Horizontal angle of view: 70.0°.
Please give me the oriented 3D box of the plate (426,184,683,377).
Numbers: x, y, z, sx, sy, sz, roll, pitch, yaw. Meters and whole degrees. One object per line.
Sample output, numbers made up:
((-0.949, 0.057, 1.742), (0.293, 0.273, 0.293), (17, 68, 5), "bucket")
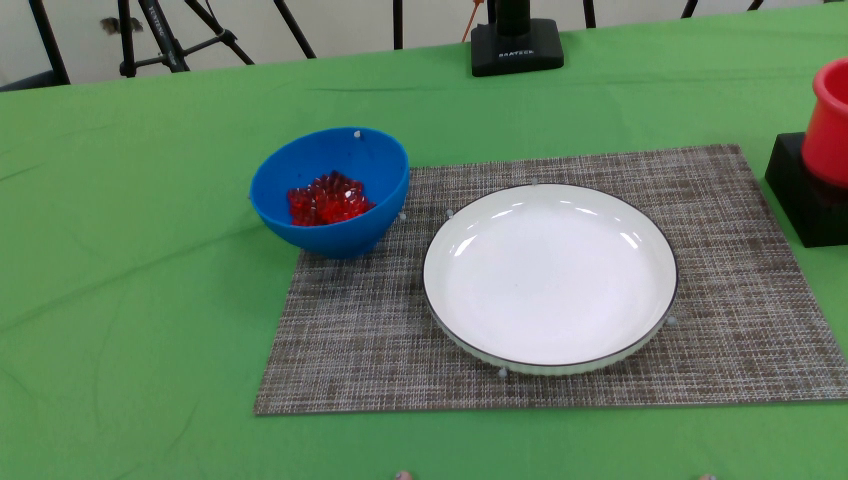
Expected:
((0.107, 0.032, 0.516), (0.207, 0.039, 0.205), (-6, 44, 6), "plate")

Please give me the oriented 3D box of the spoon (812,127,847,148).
((0.369, -0.091, 0.445), (0.041, 0.193, 0.021), (-19, 90, -8), "spoon")

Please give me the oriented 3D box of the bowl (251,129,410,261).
((-0.082, -0.033, 0.589), (0.151, 0.077, 0.150), (-5, 44, 6), "bowl")
